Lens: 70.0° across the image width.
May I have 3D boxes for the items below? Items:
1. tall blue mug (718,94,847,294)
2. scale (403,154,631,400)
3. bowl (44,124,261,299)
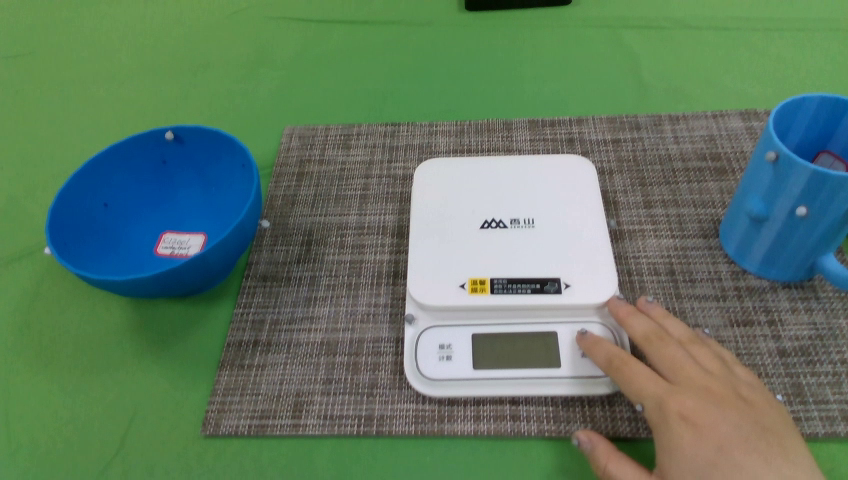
[{"bbox_3d":[0.266,-0.024,0.403,0.106,0.109,0.077,32,60,27],"label":"tall blue mug"},{"bbox_3d":[0.062,0.017,0.441,0.148,0.032,0.199,-2,52,5],"label":"scale"},{"bbox_3d":[-0.190,-0.009,0.461,0.151,0.077,0.150,-3,52,4],"label":"bowl"}]
